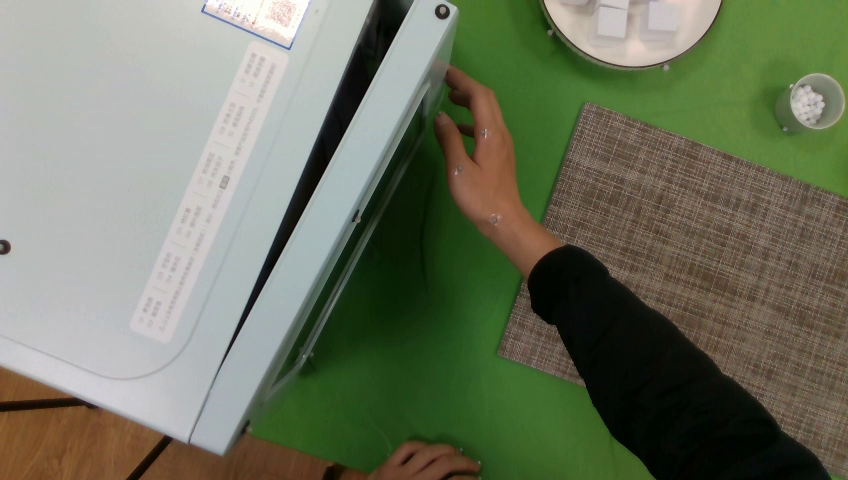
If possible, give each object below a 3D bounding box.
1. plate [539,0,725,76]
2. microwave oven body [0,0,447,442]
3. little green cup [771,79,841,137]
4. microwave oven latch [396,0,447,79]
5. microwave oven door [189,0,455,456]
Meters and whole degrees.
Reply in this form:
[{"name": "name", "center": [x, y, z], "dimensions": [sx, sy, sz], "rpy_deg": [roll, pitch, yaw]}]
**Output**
[{"name": "plate", "center": [0.226, -0.282, 0.671], "dimensions": [0.208, 0.039, 0.207], "rpy_deg": [0, 89, -2]}, {"name": "microwave oven body", "center": [-0.206, -0.111, 0.538], "dimensions": [0.326, 0.260, 0.441], "rpy_deg": [23, 89, -2]}, {"name": "little green cup", "center": [0.423, -0.145, 0.676], "dimensions": [0.061, 0.038, 0.061], "rpy_deg": [0, 88, -2]}, {"name": "microwave oven latch", "center": [-0.003, -0.214, 0.643], "dimensions": [0.030, 0.029, 0.079], "rpy_deg": [27, 89, -2]}, {"name": "microwave oven door", "center": [-0.076, -0.008, 0.537], "dimensions": [0.039, 0.244, 0.355], "rpy_deg": [28, 88, -1]}]
